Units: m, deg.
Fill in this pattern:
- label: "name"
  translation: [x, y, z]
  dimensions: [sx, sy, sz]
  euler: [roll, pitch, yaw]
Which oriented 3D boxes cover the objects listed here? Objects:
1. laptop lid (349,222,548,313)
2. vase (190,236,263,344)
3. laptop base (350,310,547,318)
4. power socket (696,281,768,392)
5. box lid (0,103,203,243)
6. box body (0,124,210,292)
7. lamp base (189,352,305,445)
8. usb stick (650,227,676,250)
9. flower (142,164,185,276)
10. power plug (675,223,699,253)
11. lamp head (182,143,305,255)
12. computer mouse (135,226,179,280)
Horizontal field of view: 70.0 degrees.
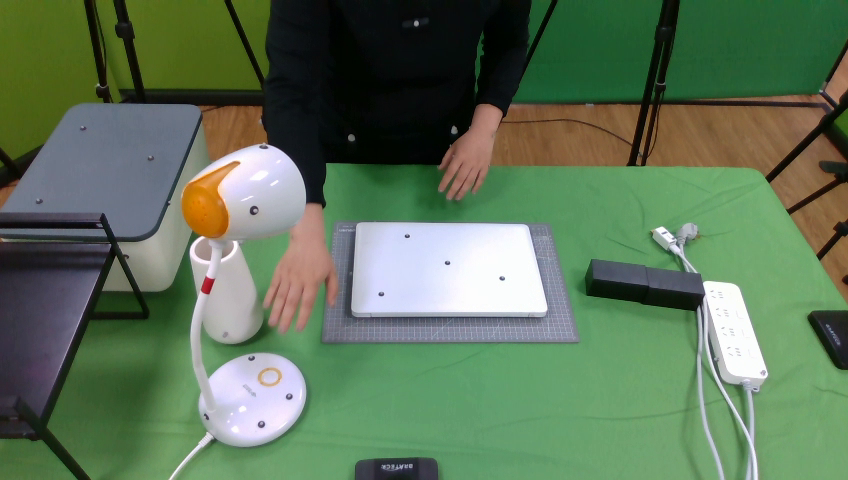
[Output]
- label: "laptop lid"
  translation: [0.042, 0.046, 1.142]
  dimensions: [0.357, 0.013, 0.240]
  euler: [2, 44, -3]
- label: "vase"
  translation: [-0.317, 0.081, 0.971]
  dimensions: [0.098, 0.201, 0.097]
  euler: [3, 47, -3]
- label: "laptop base"
  translation: [0.042, 0.056, 1.148]
  dimensions: [0.355, 0.023, 0.234]
  euler: [1, 43, -4]
- label: "power socket"
  translation: [0.543, 0.161, 1.077]
  dimensions: [0.072, 0.033, 0.225]
  euler: [5, 46, 2]
- label: "box lid"
  translation: [-0.563, -0.132, 1.079]
  dimensions: [0.263, 0.015, 0.369]
  euler: [1, 46, -3]
- label: "box body"
  translation: [-0.568, -0.082, 1.133]
  dimensions: [0.254, 0.161, 0.361]
  euler: [2, 46, -3]
- label: "lamp base"
  translation: [-0.268, 0.197, 0.876]
  dimensions: [0.160, 0.181, 0.179]
  euler: [26, 52, 19]
- label: "usb stick"
  translation: [0.485, -0.008, 1.238]
  dimensions: [0.021, 0.027, 0.059]
  euler: [-23, 44, -13]
- label: "flower"
  translation: [-0.492, -0.055, 1.173]
  dimensions: [0.044, 0.038, 0.359]
  euler: [-40, 34, 19]
- label: "power plug"
  translation: [0.538, 0.000, 1.243]
  dimensions: [0.053, 0.035, 0.072]
  euler: [18, 81, -16]
- label: "lamp head"
  translation: [-0.216, -0.044, 0.697]
  dimensions: [0.112, 0.113, 0.123]
  euler: [23, 31, 17]
- label: "computer mouse"
  translation: [-0.492, 0.020, 1.118]
  dimensions: [0.063, 0.041, 0.116]
  euler: [1, 54, -10]
